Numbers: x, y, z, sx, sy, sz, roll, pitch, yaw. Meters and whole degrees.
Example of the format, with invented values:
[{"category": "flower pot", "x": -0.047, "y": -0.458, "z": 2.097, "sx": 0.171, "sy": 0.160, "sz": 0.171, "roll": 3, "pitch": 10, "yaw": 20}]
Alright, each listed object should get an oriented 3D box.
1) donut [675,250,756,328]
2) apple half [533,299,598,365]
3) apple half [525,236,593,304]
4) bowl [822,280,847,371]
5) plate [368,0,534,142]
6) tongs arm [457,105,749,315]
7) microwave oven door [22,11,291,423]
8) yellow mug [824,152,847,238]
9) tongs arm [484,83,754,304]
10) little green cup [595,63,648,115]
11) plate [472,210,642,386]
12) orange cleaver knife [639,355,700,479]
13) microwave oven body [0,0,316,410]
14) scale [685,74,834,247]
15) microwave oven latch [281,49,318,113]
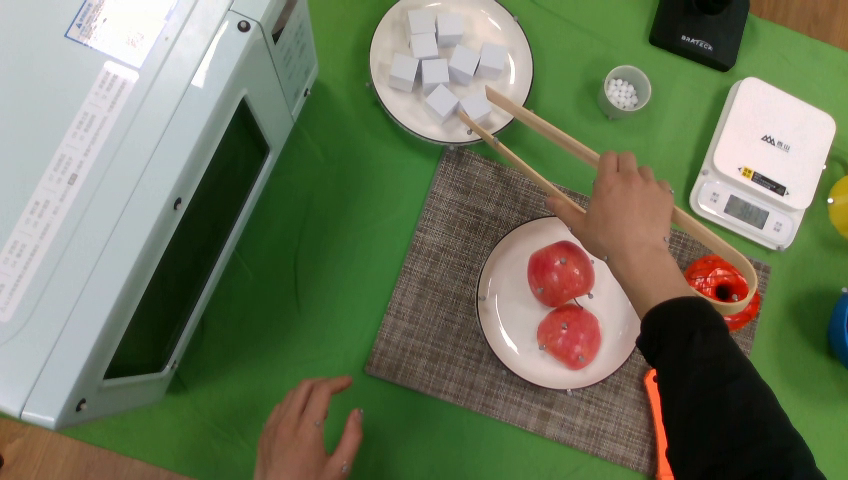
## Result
[{"category": "donut", "x": 0.361, "y": 0.060, "z": 0.754, "sx": 0.099, "sy": 0.048, "sz": 0.098, "roll": 1, "pitch": 82, "yaw": -3}, {"category": "apple half", "x": 0.174, "y": 0.107, "z": 0.724, "sx": 0.081, "sy": 0.033, "sz": 0.081, "roll": 0, "pitch": 82, "yaw": -2}, {"category": "apple half", "x": 0.164, "y": 0.033, "z": 0.725, "sx": 0.081, "sy": 0.053, "sz": 0.074, "roll": -18, "pitch": 80, "yaw": -9}, {"category": "bowl", "x": 0.558, "y": 0.110, "z": 0.754, "sx": 0.151, "sy": 0.077, "sz": 0.151, "roll": 1, "pitch": 82, "yaw": -5}, {"category": "plate", "x": 0.034, "y": -0.220, "z": 0.766, "sx": 0.208, "sy": 0.039, "sz": 0.207, "roll": 1, "pitch": 81, "yaw": -6}, {"category": "tongs arm", "x": 0.173, "y": -0.051, "z": 0.658, "sx": 0.051, "sy": 0.027, "sz": 0.381, "roll": -37, "pitch": 60, "yaw": -9}, {"category": "microwave oven door", "x": -0.231, "y": -0.012, "z": 0.586, "sx": 0.039, "sy": 0.244, "sz": 0.355, "roll": 23, "pitch": 80, "yaw": -2}, {"category": "yellow mug", "x": 0.586, "y": -0.067, "z": 0.788, "sx": 0.100, "sy": 0.064, "sz": 0.130, "roll": -12, "pitch": 82, "yaw": -7}, {"category": "tongs arm", "x": 0.195, "y": -0.070, "z": 0.663, "sx": 0.028, "sy": 0.028, "sz": 0.384, "roll": -38, "pitch": 61, "yaw": -13}, {"category": "little green cup", "x": 0.253, "y": -0.194, "z": 0.786, "sx": 0.061, "sy": 0.038, "sz": 0.061, "roll": 1, "pitch": 81, "yaw": -5}, {"category": "plate", "x": 0.158, "y": 0.069, "z": 0.734, "sx": 0.209, "sy": 0.038, "sz": 0.208, "roll": 1, "pitch": 82, "yaw": -6}, {"category": "orange cleaver knife", "x": 0.299, "y": 0.245, "z": 0.733, "sx": 0.077, "sy": 0.012, "sz": 0.210, "roll": 3, "pitch": 80, "yaw": -11}, {"category": "microwave oven body", "x": -0.349, "y": -0.107, "z": 0.593, "sx": 0.326, "sy": 0.260, "sz": 0.440, "roll": 23, "pitch": 81, "yaw": -3}, {"category": "scale", "x": 0.442, "y": -0.106, "z": 0.796, "sx": 0.149, "sy": 0.031, "sz": 0.200, "roll": 25, "pitch": 80, "yaw": -1}, {"category": "microwave oven latch", "x": -0.154, "y": -0.194, "z": 0.724, "sx": 0.030, "sy": 0.029, "sz": 0.079, "roll": 26, "pitch": 81, "yaw": -2}]
